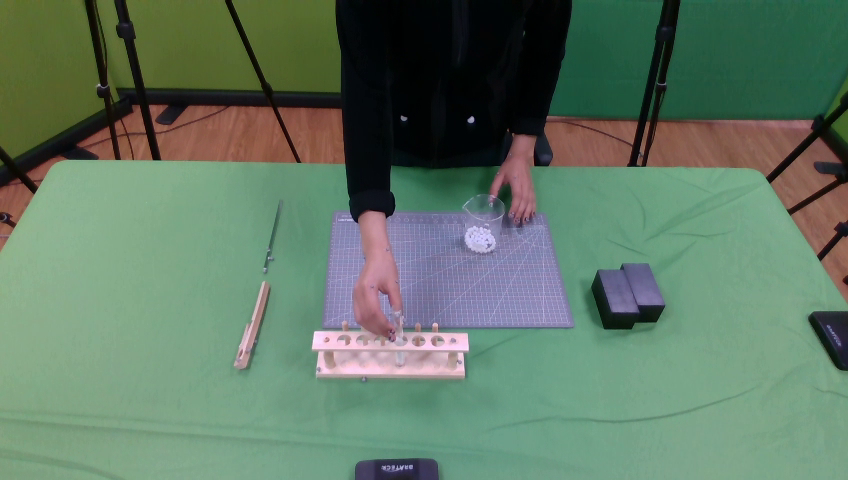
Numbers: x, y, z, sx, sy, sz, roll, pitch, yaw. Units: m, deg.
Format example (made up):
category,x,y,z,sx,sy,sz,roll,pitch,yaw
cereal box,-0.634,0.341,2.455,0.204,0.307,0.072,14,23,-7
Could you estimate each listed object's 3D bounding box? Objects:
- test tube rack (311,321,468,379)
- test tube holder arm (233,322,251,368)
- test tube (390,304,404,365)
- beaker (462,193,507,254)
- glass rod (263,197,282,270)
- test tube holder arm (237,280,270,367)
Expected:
category,x,y,z,sx,sy,sz,roll,pitch,yaw
test tube rack,-0.054,0.174,0.983,0.242,0.085,0.066,1,46,-3
test tube holder arm,-0.299,0.174,1.012,0.010,0.015,0.087,-18,41,23
test tube,-0.040,0.150,0.938,0.017,0.151,0.017,0,47,1
beaker,0.113,-0.029,1.177,0.084,0.101,0.073,6,46,3
glass rod,-0.299,-0.017,1.202,0.008,0.008,0.198,1,47,-2
test tube holder arm,-0.291,0.140,1.042,0.013,0.015,0.177,-18,41,23
